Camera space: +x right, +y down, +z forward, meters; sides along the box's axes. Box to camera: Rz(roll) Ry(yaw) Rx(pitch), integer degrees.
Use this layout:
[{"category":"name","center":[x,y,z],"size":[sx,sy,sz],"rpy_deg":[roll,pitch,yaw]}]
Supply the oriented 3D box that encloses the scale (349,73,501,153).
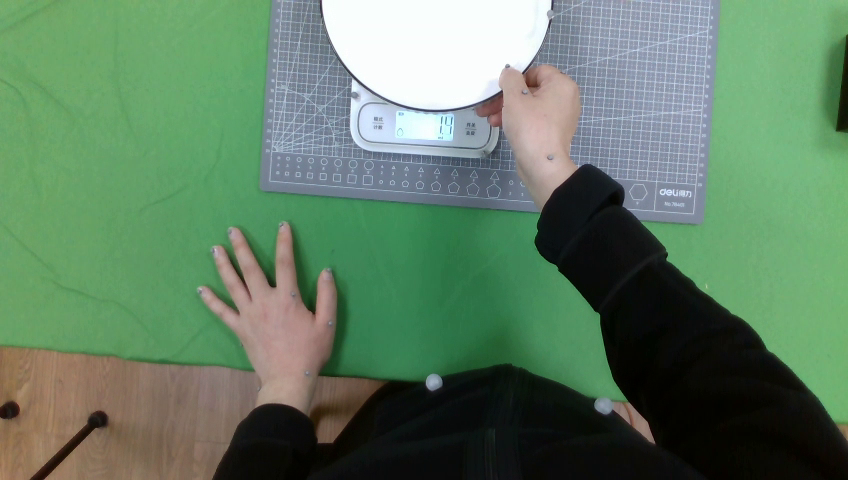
[{"category":"scale","center":[0.005,-0.191,0.595],"size":[0.149,0.031,0.201],"rpy_deg":[4,91,-1]}]

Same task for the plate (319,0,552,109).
[{"category":"plate","center":[0.011,-0.218,0.555],"size":[0.209,0.038,0.208],"rpy_deg":[0,86,0]}]
